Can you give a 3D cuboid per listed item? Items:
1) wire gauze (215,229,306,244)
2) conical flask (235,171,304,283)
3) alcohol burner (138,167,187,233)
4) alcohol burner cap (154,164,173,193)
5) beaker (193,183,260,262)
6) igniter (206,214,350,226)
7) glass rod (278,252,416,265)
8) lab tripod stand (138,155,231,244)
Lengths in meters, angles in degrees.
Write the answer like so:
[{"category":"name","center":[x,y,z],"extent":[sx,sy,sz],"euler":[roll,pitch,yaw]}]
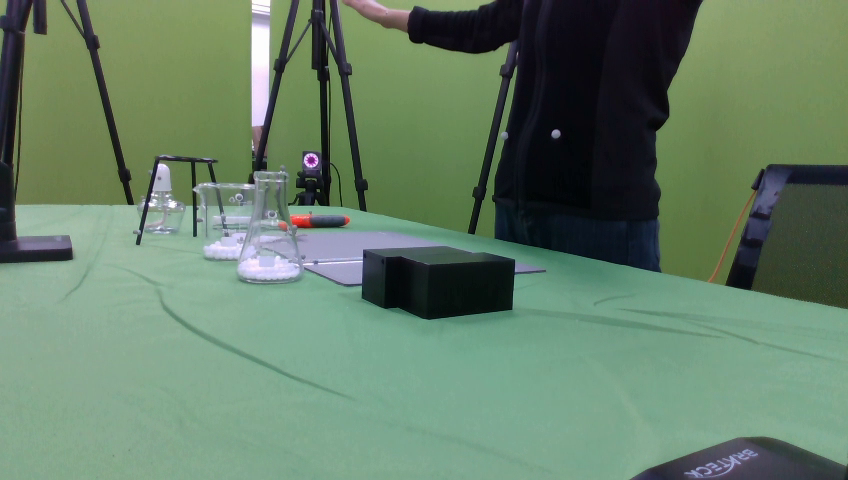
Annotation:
[{"category":"wire gauze","center":[-0.273,-0.009,1.012],"extent":[0.122,0.011,0.124],"euler":[-2,9,-33]},{"category":"conical flask","center":[-0.172,-0.016,0.677],"extent":[0.075,0.122,0.075],"euler":[2,7,0]},{"category":"alcohol burner","center":[-0.450,-0.070,1.044],"extent":[0.078,0.119,0.078],"euler":[5,7,0]},{"category":"alcohol burner cap","center":[-0.450,-0.106,1.038],"extent":[0.034,0.048,0.034],"euler":[3,13,0]},{"category":"beaker","center":[-0.262,-0.025,0.806],"extent":[0.084,0.100,0.073],"euler":[-3,9,-30]},{"category":"igniter","center":[-0.279,-0.038,1.185],"extent":[0.278,0.025,0.057],"euler":[-2,-1,-30]},{"category":"glass rod","center":[-0.097,0.024,0.805],"extent":[0.201,0.008,0.008],"euler":[-3,8,-32]},{"category":"lab tripod stand","center":[-0.358,-0.062,0.927],"extent":[0.148,0.131,0.148],"euler":[4,6,0]}]
